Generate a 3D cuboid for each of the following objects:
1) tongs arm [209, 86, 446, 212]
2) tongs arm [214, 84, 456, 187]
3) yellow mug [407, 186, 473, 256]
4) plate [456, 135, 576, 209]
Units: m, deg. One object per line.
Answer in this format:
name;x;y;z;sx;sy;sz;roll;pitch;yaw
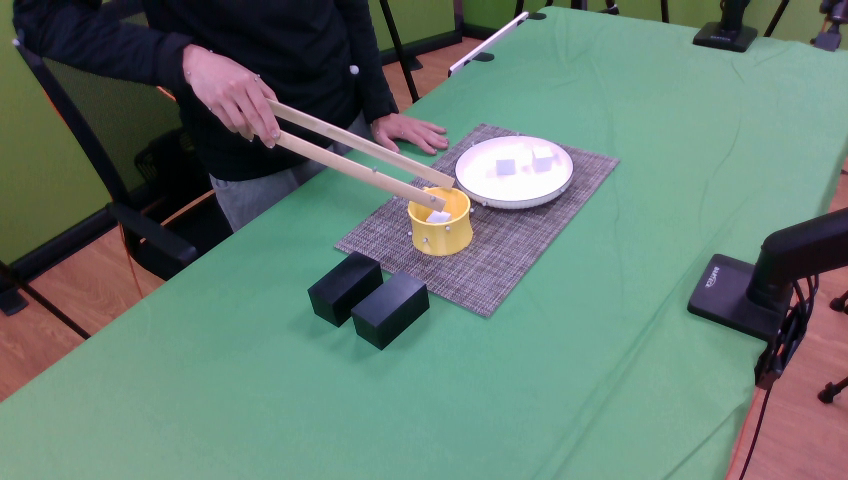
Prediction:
tongs arm;-0.144;-0.134;0.903;0.385;0.026;0.050;22;43;-3
tongs arm;-0.134;-0.159;0.934;0.388;0.028;0.028;21;46;-4
yellow mug;0.021;-0.041;0.973;0.100;0.064;0.129;-19;41;-12
plate;0.161;-0.116;1.064;0.207;0.039;0.206;-4;40;4
